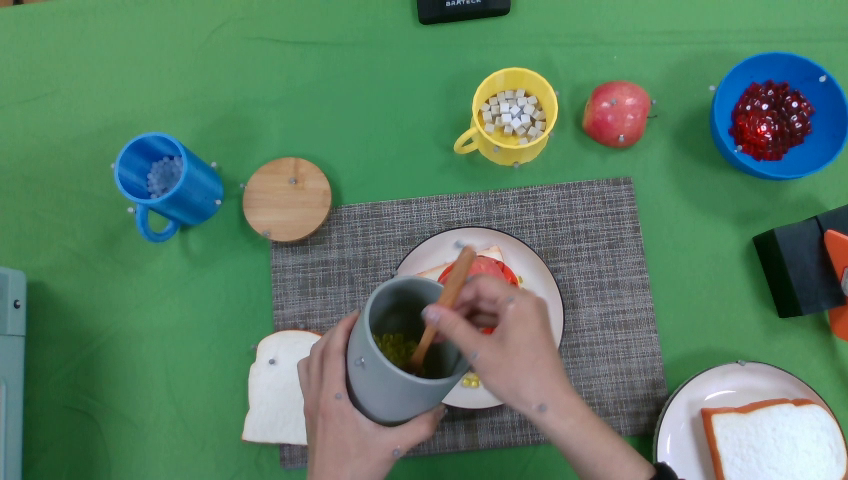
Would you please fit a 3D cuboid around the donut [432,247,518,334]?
[{"bbox_3d":[0.055,0.056,0.676,0.099,0.048,0.098,0,80,2],"label":"donut"}]

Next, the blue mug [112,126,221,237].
[{"bbox_3d":[-0.302,-0.060,0.707,0.082,0.106,0.116,15,81,5],"label":"blue mug"}]

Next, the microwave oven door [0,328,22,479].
[{"bbox_3d":[-0.480,0.258,0.572,0.039,0.245,0.354,-6,80,2],"label":"microwave oven door"}]

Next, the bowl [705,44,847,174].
[{"bbox_3d":[0.396,-0.141,0.709,0.151,0.077,0.151,0,81,3],"label":"bowl"}]

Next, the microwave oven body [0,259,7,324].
[{"bbox_3d":[-0.628,0.232,0.587,0.326,0.261,0.440,-6,81,1],"label":"microwave oven body"}]

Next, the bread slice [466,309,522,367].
[{"bbox_3d":[0.055,0.080,0.713,0.107,0.018,0.133,-24,72,-5],"label":"bread slice"}]

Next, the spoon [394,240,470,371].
[{"bbox_3d":[-0.001,0.080,0.512,0.041,0.021,0.194,27,122,4],"label":"spoon"}]

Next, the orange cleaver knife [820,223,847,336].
[{"bbox_3d":[0.471,0.084,0.666,0.012,0.077,0.212,-17,102,-7],"label":"orange cleaver knife"}]

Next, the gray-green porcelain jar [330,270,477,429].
[{"bbox_3d":[-0.025,0.105,0.552,0.106,0.127,0.105,15,48,-16],"label":"gray-green porcelain jar"}]

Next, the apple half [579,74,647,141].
[{"bbox_3d":[0.231,-0.166,0.733,0.074,0.053,0.080,16,81,7],"label":"apple half"}]

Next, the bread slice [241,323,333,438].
[{"bbox_3d":[-0.157,0.162,0.705,0.105,0.019,0.131,2,81,2],"label":"bread slice"}]

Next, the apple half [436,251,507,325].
[{"bbox_3d":[0.051,0.050,0.641,0.081,0.033,0.081,-2,79,9],"label":"apple half"}]

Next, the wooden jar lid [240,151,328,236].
[{"bbox_3d":[-0.170,-0.056,0.742,0.108,0.021,0.108,-1,77,3],"label":"wooden jar lid"}]

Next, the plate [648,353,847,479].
[{"bbox_3d":[0.349,0.229,0.668,0.209,0.038,0.208,0,80,2],"label":"plate"}]

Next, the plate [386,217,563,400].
[{"bbox_3d":[0.053,0.078,0.701,0.207,0.039,0.207,0,81,2],"label":"plate"}]

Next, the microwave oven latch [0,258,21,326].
[{"bbox_3d":[-0.493,0.061,0.708,0.030,0.029,0.079,-2,81,1],"label":"microwave oven latch"}]

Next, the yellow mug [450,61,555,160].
[{"bbox_3d":[0.089,-0.147,0.728,0.131,0.064,0.099,-29,80,-2],"label":"yellow mug"}]
